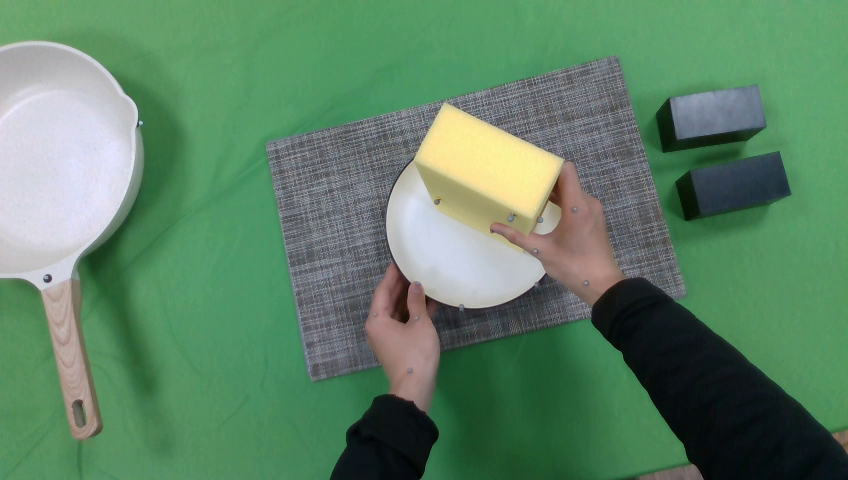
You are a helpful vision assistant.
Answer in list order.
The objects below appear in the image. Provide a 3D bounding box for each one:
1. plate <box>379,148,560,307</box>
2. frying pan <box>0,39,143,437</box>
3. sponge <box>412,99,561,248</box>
[{"bbox_3d":[0.053,-0.024,0.712,0.207,0.039,0.207,-1,83,4],"label":"plate"},{"bbox_3d":[-0.447,-0.005,0.720,0.307,0.103,0.484,-21,73,3],"label":"frying pan"},{"bbox_3d":[0.064,-0.057,0.621,0.118,0.207,0.061,27,85,10],"label":"sponge"}]
